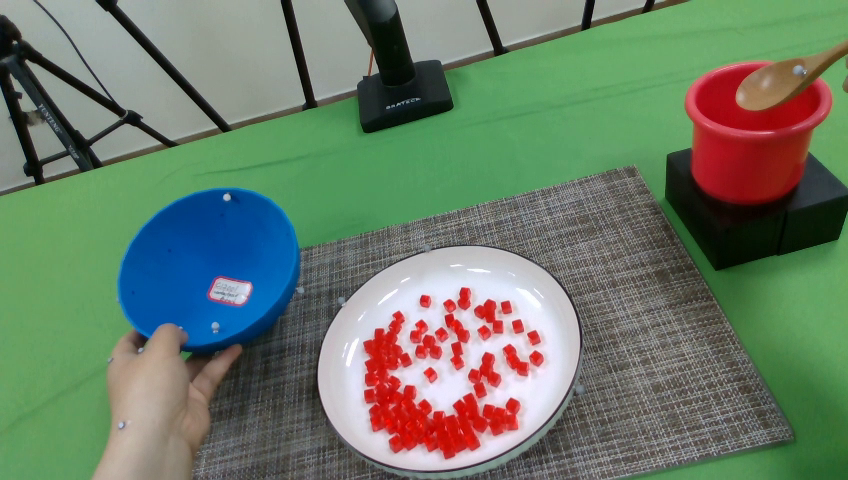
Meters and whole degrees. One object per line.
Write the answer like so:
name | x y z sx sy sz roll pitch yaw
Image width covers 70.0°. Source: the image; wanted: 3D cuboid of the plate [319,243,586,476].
plate | 0.022 0.088 0.477 0.207 0.039 0.205 -10 44 10

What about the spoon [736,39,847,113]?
spoon | 0.256 -0.114 0.356 0.022 0.193 0.041 29 81 -5

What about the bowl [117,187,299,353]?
bowl | -0.176 0.037 0.533 0.151 0.077 0.150 -2 60 5
